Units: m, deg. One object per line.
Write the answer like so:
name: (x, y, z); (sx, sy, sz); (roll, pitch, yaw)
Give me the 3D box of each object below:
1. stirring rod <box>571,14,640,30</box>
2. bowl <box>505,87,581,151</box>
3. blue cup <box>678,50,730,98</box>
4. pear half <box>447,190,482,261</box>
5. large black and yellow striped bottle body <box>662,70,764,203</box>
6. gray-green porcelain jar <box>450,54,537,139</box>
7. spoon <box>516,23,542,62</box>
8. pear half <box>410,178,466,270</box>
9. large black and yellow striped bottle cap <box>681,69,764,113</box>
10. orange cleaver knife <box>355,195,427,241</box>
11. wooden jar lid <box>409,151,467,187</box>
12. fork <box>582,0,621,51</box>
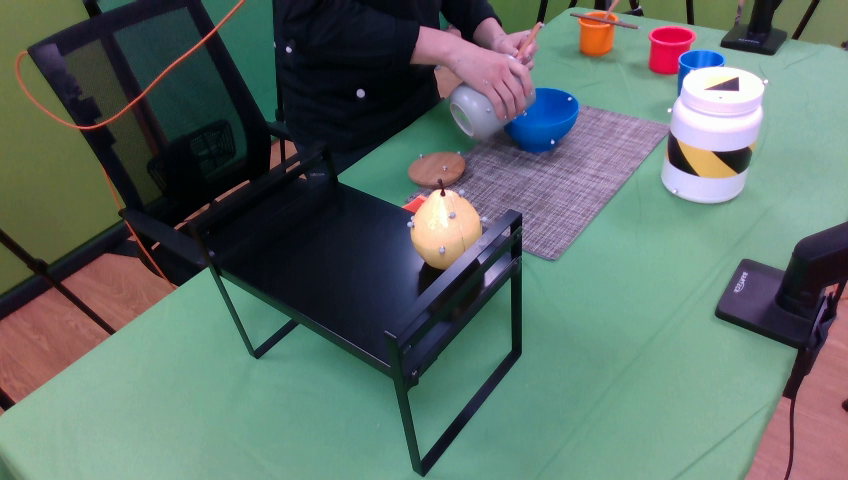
stirring rod: (0.419, -0.508, 1.404); (0.174, 0.006, 0.014); (28, 55, 35)
bowl: (0.220, -0.223, 1.156); (0.151, 0.077, 0.150); (-4, 41, 4)
blue cup: (0.542, -0.310, 1.194); (0.092, 0.101, 0.092); (-6, 41, 6)
pear half: (0.046, -0.020, 0.664); (0.031, 0.088, 0.070); (-17, 38, -9)
large black and yellow striped bottle body: (0.464, -0.166, 0.976); (0.131, 0.185, 0.130); (-5, 41, 5)
gray-green porcelain jar: (0.118, -0.249, 1.072); (0.126, 0.106, 0.105); (-36, 46, -8)
spoon: (0.152, -0.305, 1.084); (0.193, 0.022, 0.041); (-52, 33, 6)
pear half: (0.011, -0.019, 0.654); (0.056, 0.110, 0.076); (-16, 37, -9)
large black and yellow striped bottle cap: (0.453, -0.229, 0.921); (0.115, 0.019, 0.114); (-4, 39, 4)
orange cleaver knife: (-0.037, -0.029, 0.973); (0.210, 0.077, 0.012); (-8, 33, 50)
wooden jar lid: (0.026, -0.131, 1.124); (0.108, 0.021, 0.108); (-8, 35, 6)
fork: (0.446, -0.539, 1.438); (0.207, 0.019, 0.028); (-57, 36, 12)
